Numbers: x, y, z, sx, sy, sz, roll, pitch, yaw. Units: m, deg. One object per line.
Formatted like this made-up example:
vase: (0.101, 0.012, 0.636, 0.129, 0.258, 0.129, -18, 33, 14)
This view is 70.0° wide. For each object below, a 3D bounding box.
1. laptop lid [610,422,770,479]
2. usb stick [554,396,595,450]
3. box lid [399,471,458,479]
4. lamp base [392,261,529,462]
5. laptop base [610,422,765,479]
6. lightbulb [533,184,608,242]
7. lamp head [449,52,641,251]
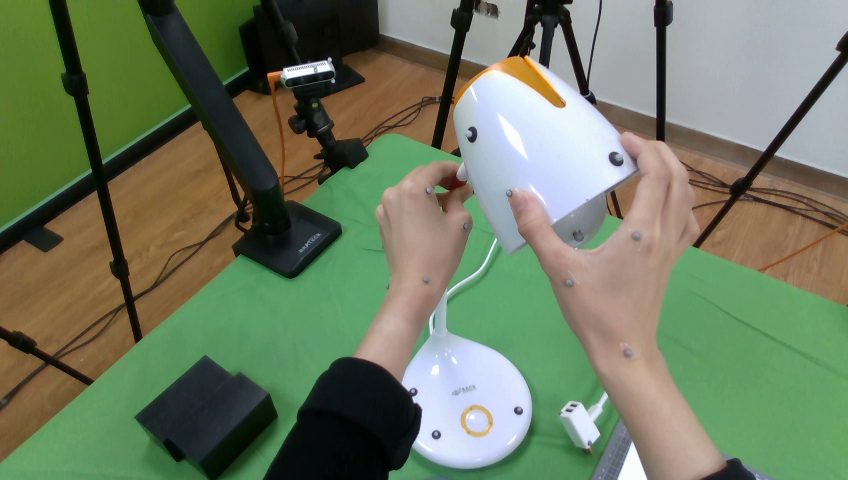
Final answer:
laptop lid: (0.328, 0.338, 0.553, 0.354, 0.013, 0.241, 23, 54, 22)
usb stick: (0.172, 0.206, 0.678, 0.027, 0.059, 0.021, -33, 10, -31)
box lid: (-0.046, 0.400, 0.526, 0.264, 0.015, 0.367, -11, 48, -9)
lamp base: (0.034, 0.123, 0.666, 0.161, 0.182, 0.177, -22, 46, -19)
laptop base: (0.330, 0.344, 0.563, 0.352, 0.023, 0.234, 22, 55, 20)
lightbulb: (0.094, -0.052, 0.423, 0.059, 0.059, 0.107, -9, 85, -6)
lamp head: (0.071, -0.067, 0.430, 0.112, 0.113, 0.122, -30, 78, -24)
